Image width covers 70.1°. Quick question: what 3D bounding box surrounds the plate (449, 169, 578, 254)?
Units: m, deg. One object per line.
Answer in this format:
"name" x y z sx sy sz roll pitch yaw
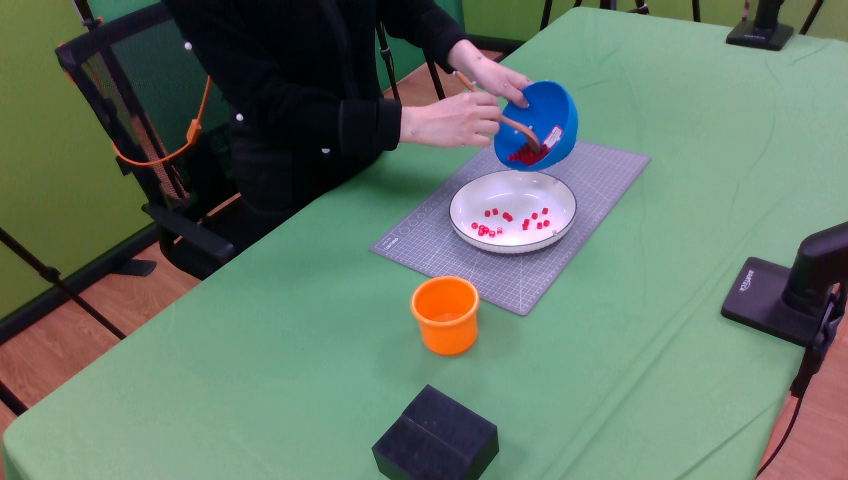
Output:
"plate" 0.147 -0.044 0.994 0.209 0.038 0.208 -5 40 5

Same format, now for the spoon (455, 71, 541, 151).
"spoon" 0.117 -0.194 0.924 0.021 0.195 0.041 -53 30 13

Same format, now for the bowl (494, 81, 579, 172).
"bowl" 0.196 -0.173 0.983 0.150 0.077 0.150 -22 59 42
